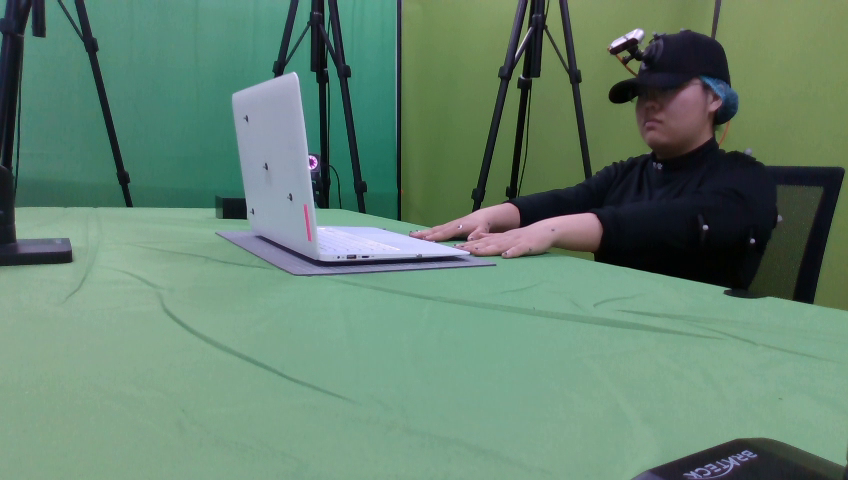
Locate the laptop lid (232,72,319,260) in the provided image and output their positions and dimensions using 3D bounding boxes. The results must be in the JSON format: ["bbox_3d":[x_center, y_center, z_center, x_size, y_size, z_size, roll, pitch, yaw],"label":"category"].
[{"bbox_3d":[-0.229,-0.109,0.888,0.013,0.241,0.355,-10,14,-28],"label":"laptop lid"}]

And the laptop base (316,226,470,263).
[{"bbox_3d":[-0.116,0.005,0.971,0.237,0.023,0.352,2,6,-30],"label":"laptop base"}]
